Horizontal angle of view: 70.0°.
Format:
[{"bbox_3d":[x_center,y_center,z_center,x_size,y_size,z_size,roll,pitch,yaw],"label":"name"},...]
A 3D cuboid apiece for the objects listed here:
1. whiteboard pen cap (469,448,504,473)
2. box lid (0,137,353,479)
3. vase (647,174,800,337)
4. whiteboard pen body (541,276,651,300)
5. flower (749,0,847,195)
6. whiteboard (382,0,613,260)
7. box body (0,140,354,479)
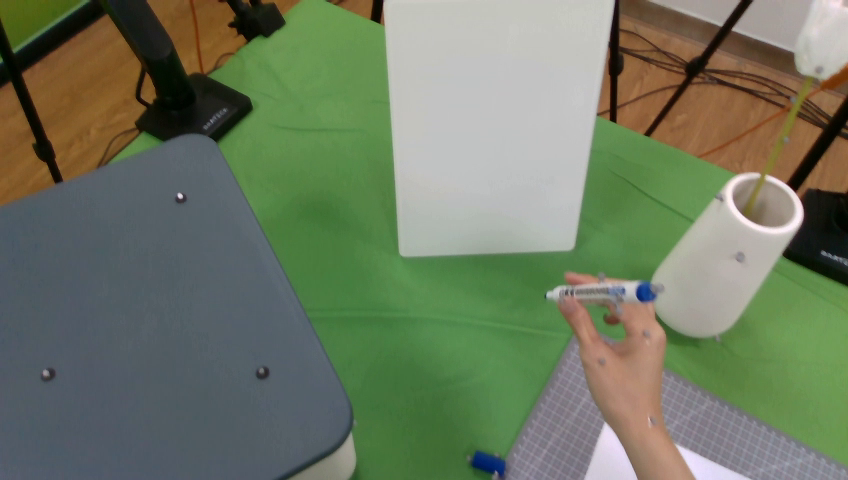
[{"bbox_3d":[0.062,0.219,0.599,0.033,0.018,0.018,16,58,15],"label":"whiteboard pen cap"},{"bbox_3d":[-0.250,0.069,0.519,0.263,0.015,0.368,-25,61,-17],"label":"box lid"},{"bbox_3d":[0.302,0.020,0.625,0.098,0.202,0.097,0,55,0],"label":"vase"},{"bbox_3d":[0.127,0.039,0.475,0.017,0.140,0.017,2,84,-18],"label":"whiteboard pen body"},{"bbox_3d":[0.303,-0.038,0.563,0.044,0.364,0.038,22,42,18],"label":"flower"},{"bbox_3d":[0.070,-0.143,0.702,0.217,0.308,0.142,-2,38,-1],"label":"whiteboard"},{"bbox_3d":[-0.249,0.112,0.581,0.254,0.162,0.360,-26,61,-16],"label":"box body"}]
